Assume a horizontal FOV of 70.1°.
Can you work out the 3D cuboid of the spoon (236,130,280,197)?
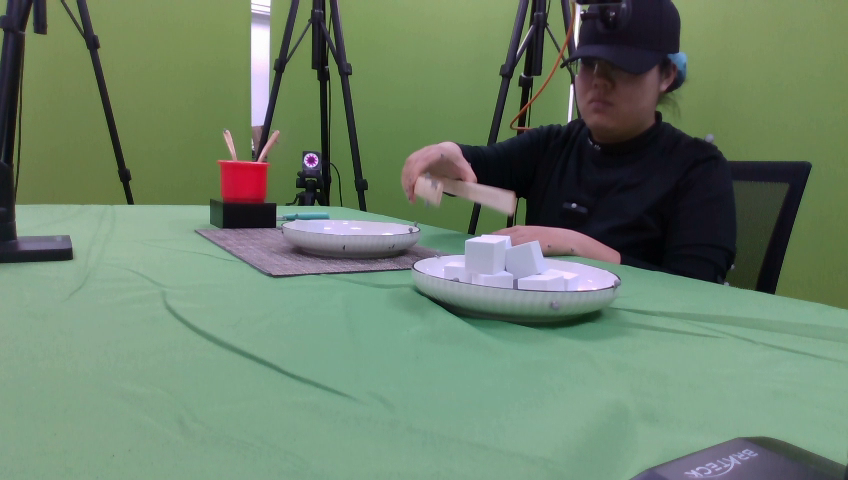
[{"bbox_3d":[-0.321,-0.154,1.192,0.041,0.193,0.022,0,-37,19],"label":"spoon"}]

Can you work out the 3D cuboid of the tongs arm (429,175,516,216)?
[{"bbox_3d":[0.059,-0.069,0.858,0.028,0.028,0.386,0,9,-12],"label":"tongs arm"}]

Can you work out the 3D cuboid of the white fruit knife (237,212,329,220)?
[{"bbox_3d":[-0.304,-0.050,1.328,0.208,0.016,0.027,-3,-19,-29],"label":"white fruit knife"}]

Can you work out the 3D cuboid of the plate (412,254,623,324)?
[{"bbox_3d":[0.090,0.047,0.609,0.209,0.038,0.209,2,7,0],"label":"plate"}]

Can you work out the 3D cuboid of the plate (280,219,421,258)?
[{"bbox_3d":[-0.108,-0.002,0.902,0.208,0.039,0.207,3,7,0],"label":"plate"}]

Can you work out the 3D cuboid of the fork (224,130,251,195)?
[{"bbox_3d":[-0.372,-0.155,1.193,0.028,0.018,0.206,-18,54,-13],"label":"fork"}]

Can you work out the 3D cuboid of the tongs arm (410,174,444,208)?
[{"bbox_3d":[0.012,-0.073,0.850,0.051,0.026,0.384,4,8,-9],"label":"tongs arm"}]
